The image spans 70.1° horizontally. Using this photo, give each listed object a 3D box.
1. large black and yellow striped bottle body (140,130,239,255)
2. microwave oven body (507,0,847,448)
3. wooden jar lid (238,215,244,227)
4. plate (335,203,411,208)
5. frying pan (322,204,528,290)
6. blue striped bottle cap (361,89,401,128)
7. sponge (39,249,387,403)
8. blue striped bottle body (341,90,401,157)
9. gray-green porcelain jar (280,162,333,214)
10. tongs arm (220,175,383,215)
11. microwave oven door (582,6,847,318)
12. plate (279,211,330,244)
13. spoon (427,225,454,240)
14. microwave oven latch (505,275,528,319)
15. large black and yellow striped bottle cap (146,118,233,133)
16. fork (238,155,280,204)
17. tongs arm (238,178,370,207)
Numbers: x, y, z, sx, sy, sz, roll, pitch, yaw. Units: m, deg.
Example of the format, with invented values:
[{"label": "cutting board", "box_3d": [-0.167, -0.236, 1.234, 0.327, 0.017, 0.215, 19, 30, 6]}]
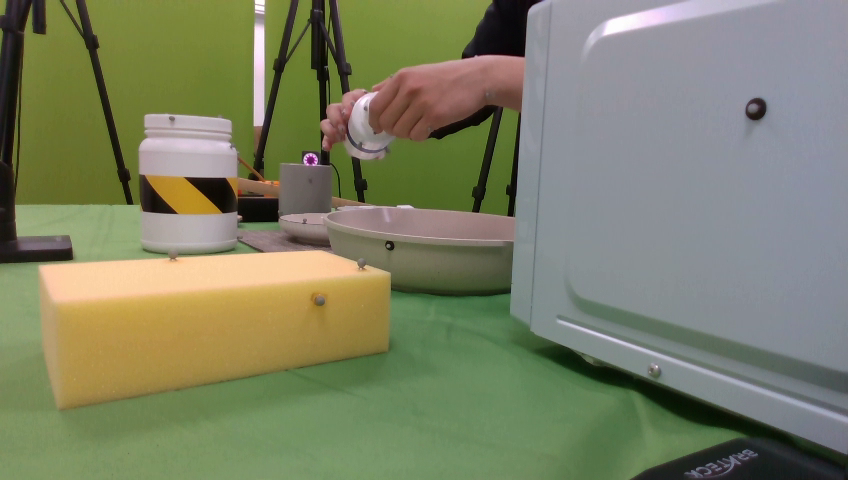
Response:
[{"label": "large black and yellow striped bottle body", "box_3d": [-0.336, -0.078, 0.871, 0.131, 0.184, 0.130, 2, 8, 0]}, {"label": "microwave oven body", "box_3d": [0.331, -0.042, 0.425, 0.444, 0.260, 0.324, -2, 8, -31]}, {"label": "wooden jar lid", "box_3d": [-0.404, -0.037, 1.169, 0.108, 0.020, 0.108, 3, 7, 0]}, {"label": "plate", "box_3d": [-0.089, -0.053, 1.309, 0.208, 0.039, 0.207, 2, 8, 0]}, {"label": "frying pan", "box_3d": [0.109, -0.017, 0.800, 0.490, 0.102, 0.305, -12, 16, -30]}, {"label": "blue striped bottle cap", "box_3d": [-0.050, -0.154, 0.706, 0.045, 0.044, 0.020, -1, -26, -23]}, {"label": "sponge", "box_3d": [-0.142, 0.047, 0.419, 0.208, 0.061, 0.117, -3, 8, -37]}, {"label": "blue striped bottle body", "box_3d": [-0.067, -0.148, 0.762, 0.063, 0.063, 0.120, 0, -5, -15]}, {"label": "gray-green porcelain jar", "box_3d": [-0.238, -0.092, 1.221, 0.106, 0.126, 0.106, 2, 7, 0]}, {"label": "tongs arm", "box_3d": [-0.285, -0.105, 1.445, 0.389, 0.027, 0.028, 10, -3, -23]}, {"label": "microwave oven door", "box_3d": [0.295, -0.067, 0.569, 0.358, 0.243, 0.039, -3, 8, -31]}, {"label": "plate", "box_3d": [-0.139, -0.022, 1.021, 0.209, 0.038, 0.209, 2, 8, 0]}, {"label": "spoon", "box_3d": [0.024, -0.019, 1.124, 0.042, 0.021, 0.193, -17, 10, -4]}, {"label": "microwave oven latch", "box_3d": [0.100, 0.042, 0.471, 0.079, 0.029, 0.030, -2, 8, -29]}, {"label": "large black and yellow striped bottle cap", "box_3d": [-0.333, -0.163, 0.861, 0.115, 0.019, 0.115, 1, 9, 0]}, {"label": "fork", "box_3d": [-0.396, -0.143, 1.486, 0.028, 0.018, 0.208, 19, -26, 45]}, {"label": "tongs arm", "box_3d": [-0.241, -0.095, 1.374, 0.387, 0.026, 0.050, 9, 0, -37]}]
